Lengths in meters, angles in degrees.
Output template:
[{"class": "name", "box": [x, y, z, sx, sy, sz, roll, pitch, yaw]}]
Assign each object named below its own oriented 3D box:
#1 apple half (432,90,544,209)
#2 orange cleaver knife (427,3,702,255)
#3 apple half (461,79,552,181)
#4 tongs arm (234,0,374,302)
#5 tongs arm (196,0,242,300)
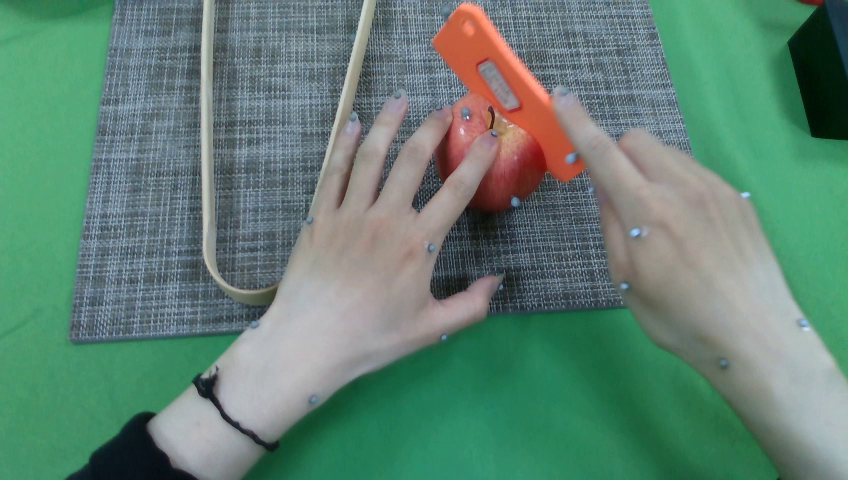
[{"class": "apple half", "box": [0.036, -0.053, 0.417, 0.080, 0.075, 0.053, 44, 75, 11]}, {"class": "orange cleaver knife", "box": [0.080, -0.064, 0.377, 0.211, 0.077, 0.012, 45, 75, 5]}, {"class": "apple half", "box": [0.064, -0.082, 0.431, 0.081, 0.082, 0.033, 41, 68, 13]}, {"class": "tongs arm", "box": [-0.074, -0.136, 0.466, 0.051, 0.027, 0.382, 8, 68, -2]}, {"class": "tongs arm", "box": [-0.159, -0.139, 0.463, 0.028, 0.028, 0.384, -4, 68, -10]}]
